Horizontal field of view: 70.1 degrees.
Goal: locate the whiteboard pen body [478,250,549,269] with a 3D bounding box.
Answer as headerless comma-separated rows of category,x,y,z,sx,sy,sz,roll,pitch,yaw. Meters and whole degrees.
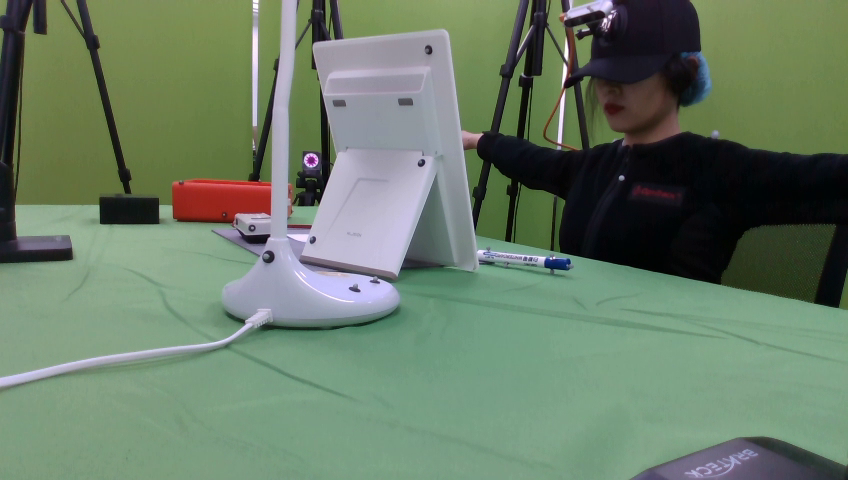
whiteboard pen body,0.130,0.028,0.827,0.140,0.017,0.017,7,8,38

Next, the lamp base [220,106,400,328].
lamp base,-0.101,-0.023,0.531,0.160,0.180,0.179,4,10,10

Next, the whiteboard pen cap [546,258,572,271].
whiteboard pen cap,0.176,0.032,0.790,0.033,0.018,0.018,3,6,38

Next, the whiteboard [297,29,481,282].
whiteboard,-0.076,-0.082,0.741,0.216,0.305,0.144,9,29,37

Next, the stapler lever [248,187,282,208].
stapler lever,-0.341,-0.092,1.308,0.027,0.040,0.118,19,6,12

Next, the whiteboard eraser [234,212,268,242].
whiteboard eraser,-0.270,-0.021,0.975,0.056,0.042,0.112,0,8,-27

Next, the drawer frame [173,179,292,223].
drawer frame,-0.400,-0.086,1.300,0.214,0.082,0.201,1,8,-8

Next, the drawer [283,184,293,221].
drawer,-0.396,-0.084,1.301,0.212,0.073,0.194,1,8,-7

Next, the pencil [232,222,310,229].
pencil,-0.261,-0.025,1.140,0.195,0.012,0.012,2,7,-26

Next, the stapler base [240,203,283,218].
stapler base,-0.349,-0.065,1.309,0.041,0.024,0.131,19,8,12
